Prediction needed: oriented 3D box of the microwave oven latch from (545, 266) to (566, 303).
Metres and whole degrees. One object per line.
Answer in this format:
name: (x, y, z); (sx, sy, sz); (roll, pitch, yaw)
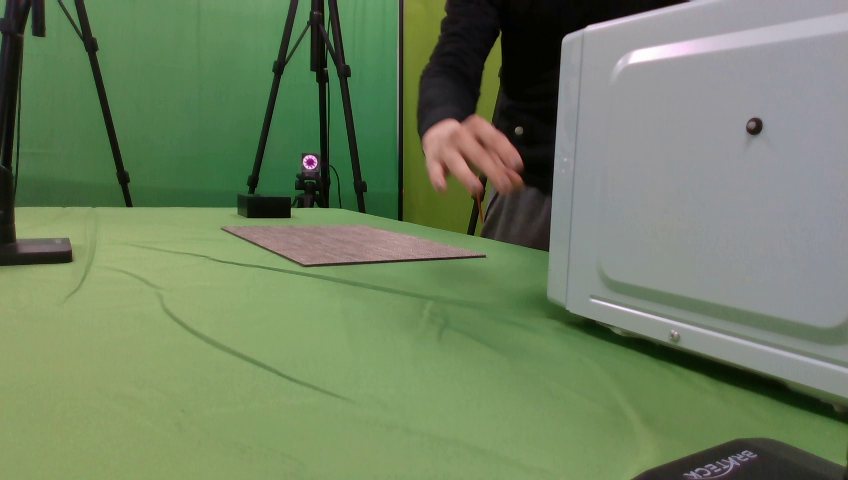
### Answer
microwave oven latch: (0.147, 0.038, 0.555); (0.079, 0.029, 0.030); (-2, 7, -29)

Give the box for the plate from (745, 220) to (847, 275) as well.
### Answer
plate: (0.408, 0.008, 0.552); (0.209, 0.038, 0.209); (3, 6, 0)

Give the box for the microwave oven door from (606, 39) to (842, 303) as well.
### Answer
microwave oven door: (0.341, -0.070, 0.654); (0.358, 0.243, 0.039); (-3, 9, -31)

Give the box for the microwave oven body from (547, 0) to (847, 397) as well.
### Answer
microwave oven body: (0.378, -0.045, 0.509); (0.444, 0.260, 0.324); (-2, 8, -31)
